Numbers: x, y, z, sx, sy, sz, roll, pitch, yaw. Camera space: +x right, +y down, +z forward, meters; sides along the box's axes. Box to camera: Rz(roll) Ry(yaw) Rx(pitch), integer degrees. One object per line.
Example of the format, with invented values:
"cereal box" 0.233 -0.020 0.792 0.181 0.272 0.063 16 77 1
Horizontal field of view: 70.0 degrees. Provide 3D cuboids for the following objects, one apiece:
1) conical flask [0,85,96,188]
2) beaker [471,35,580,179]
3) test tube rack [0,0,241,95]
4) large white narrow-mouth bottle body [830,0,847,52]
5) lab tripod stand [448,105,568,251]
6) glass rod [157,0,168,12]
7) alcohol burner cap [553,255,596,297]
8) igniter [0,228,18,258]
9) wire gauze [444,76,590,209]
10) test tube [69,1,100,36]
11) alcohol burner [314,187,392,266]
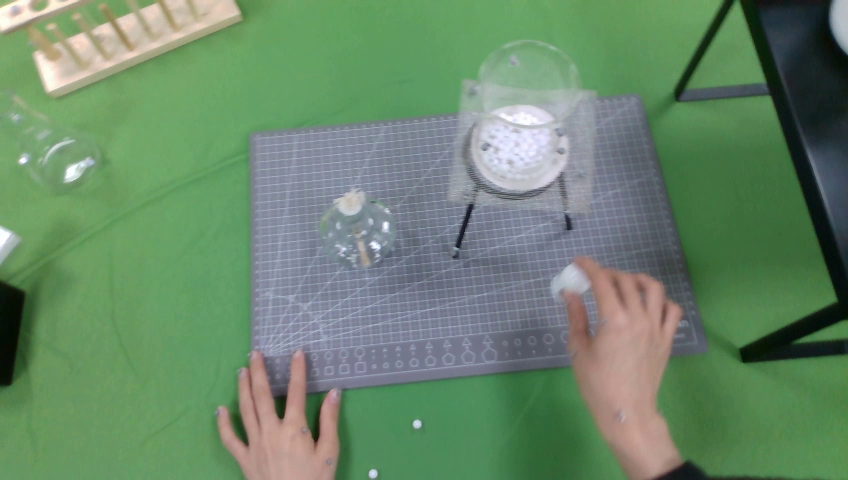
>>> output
"conical flask" -0.408 -0.111 0.629 0.075 0.122 0.075 -1 69 2
"beaker" 0.073 -0.098 0.483 0.084 0.101 0.073 -28 72 -8
"test tube rack" -0.349 -0.265 0.703 0.242 0.086 0.066 -26 71 -8
"large white narrow-mouth bottle body" 0.382 -0.211 0.418 0.102 0.196 0.101 -1 69 3
"lab tripod stand" 0.080 -0.058 0.590 0.148 0.132 0.147 0 68 0
"glass rod" -0.325 -0.328 0.655 0.008 0.201 0.008 -2 62 4
"alcohol burner cap" 0.139 0.030 0.552 0.034 0.048 0.033 1 69 -3
"igniter" -0.475 0.105 0.552 0.057 0.025 0.275 22 71 19
"wire gauze" 0.085 -0.086 0.530 0.121 0.011 0.124 7 68 1
"test tube" -0.394 -0.281 0.657 0.017 0.151 0.017 0 63 1
"alcohol burner" -0.071 -0.019 0.590 0.078 0.120 0.077 0 68 0
